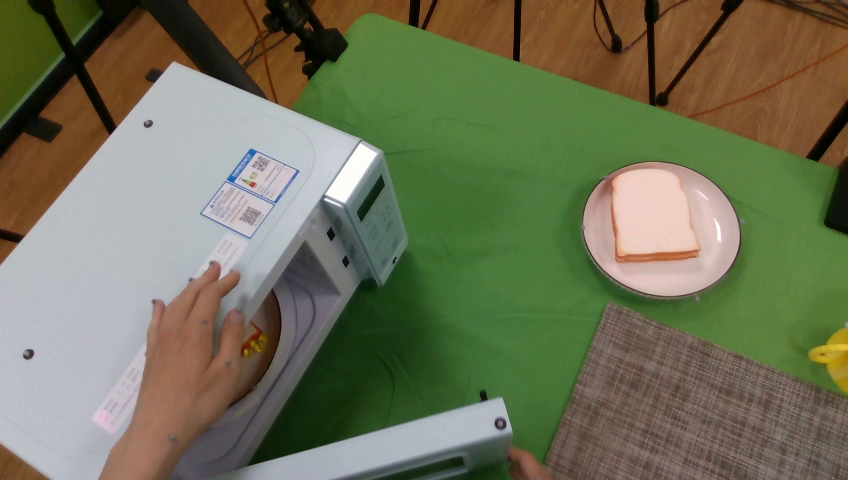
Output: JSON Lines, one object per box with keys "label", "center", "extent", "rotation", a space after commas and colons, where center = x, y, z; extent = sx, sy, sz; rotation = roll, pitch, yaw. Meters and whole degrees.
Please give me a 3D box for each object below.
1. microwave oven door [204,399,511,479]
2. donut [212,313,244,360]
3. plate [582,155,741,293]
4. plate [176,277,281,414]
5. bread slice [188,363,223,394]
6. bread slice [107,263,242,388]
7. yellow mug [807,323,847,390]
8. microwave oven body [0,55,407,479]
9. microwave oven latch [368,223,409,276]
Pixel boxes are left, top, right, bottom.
{"label": "microwave oven door", "center": [-0.085, 0.241, 0.629], "extent": [0.356, 0.246, 0.039], "rotation": [-15, 64, -1]}
{"label": "donut", "center": [-0.271, 0.102, 0.743], "extent": [0.099, 0.048, 0.098], "rotation": [3, 61, -5]}
{"label": "plate", "center": [0.323, -0.021, 0.838], "extent": [0.207, 0.039, 0.206], "rotation": [-2, 65, 5]}
{"label": "plate", "center": [-0.280, 0.114, 0.765], "extent": [0.209, 0.038, 0.207], "rotation": [-1, 69, 4]}
{"label": "bread slice", "center": [-0.281, 0.139, 0.784], "extent": [0.104, 0.019, 0.131], "rotation": [38, 46, 23]}
{"label": "bread slice", "center": [-0.286, 0.091, 0.717], "extent": [0.106, 0.018, 0.134], "rotation": [35, 66, 11]}
{"label": "yellow mug", "center": [0.535, 0.135, 0.729], "extent": [0.130, 0.064, 0.099], "rotation": [3, 65, 9]}
{"label": "microwave oven body", "center": [-0.274, 0.056, 0.738], "extent": [0.324, 0.262, 0.440], "rotation": [25, 71, 16]}
{"label": "microwave oven latch", "center": [-0.050, 0.010, 0.842], "extent": [0.030, 0.030, 0.079], "rotation": [29, 72, 17]}
